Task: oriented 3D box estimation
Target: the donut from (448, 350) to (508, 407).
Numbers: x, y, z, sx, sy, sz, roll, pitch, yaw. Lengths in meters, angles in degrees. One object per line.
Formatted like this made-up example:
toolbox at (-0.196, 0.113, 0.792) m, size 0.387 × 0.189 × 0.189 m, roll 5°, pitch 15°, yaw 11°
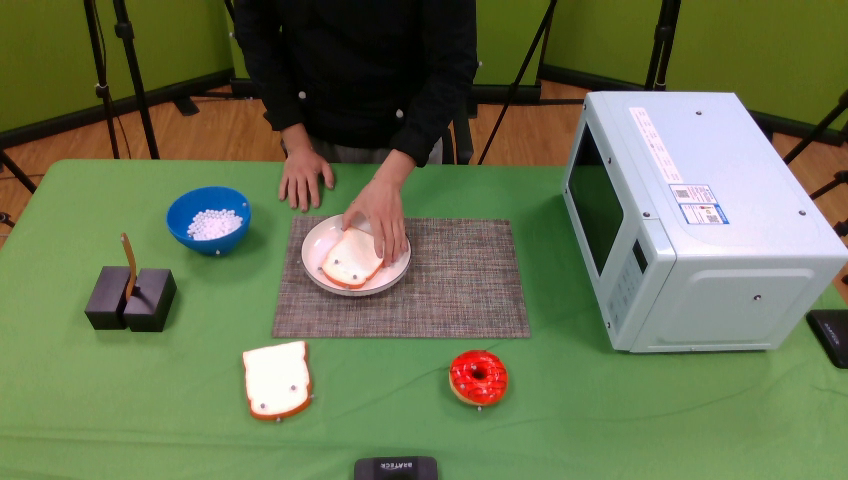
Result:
donut at (0.087, 0.223, 0.977) m, size 0.099 × 0.048 × 0.098 m, roll 4°, pitch 46°, yaw -4°

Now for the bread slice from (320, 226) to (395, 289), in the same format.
bread slice at (-0.129, 0.036, 1.140) m, size 0.107 × 0.018 × 0.134 m, roll 19°, pitch 48°, yaw 14°

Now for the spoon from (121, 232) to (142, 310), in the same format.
spoon at (-0.479, 0.051, 0.994) m, size 0.022 × 0.194 × 0.041 m, roll 13°, pitch 46°, yaw -11°

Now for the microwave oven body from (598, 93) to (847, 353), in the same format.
microwave oven body at (0.475, -0.041, 1.109) m, size 0.326 × 0.261 × 0.438 m, roll -1°, pitch 45°, yaw -4°

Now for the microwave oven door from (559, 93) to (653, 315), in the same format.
microwave oven door at (0.327, -0.074, 1.123) m, size 0.039 × 0.245 × 0.353 m, roll -1°, pitch 46°, yaw -5°

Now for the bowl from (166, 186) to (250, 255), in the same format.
bowl at (-0.403, -0.024, 1.154) m, size 0.151 × 0.077 × 0.150 m, roll 2°, pitch 46°, yaw -2°

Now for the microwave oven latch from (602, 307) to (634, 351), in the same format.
microwave oven latch at (0.332, 0.153, 1.044) m, size 0.030 × 0.029 × 0.078 m, roll -1°, pitch 45°, yaw -4°

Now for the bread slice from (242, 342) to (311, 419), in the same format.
bread slice at (-0.234, 0.223, 0.970) m, size 0.105 × 0.019 × 0.130 m, roll -10°, pitch 46°, yaw -13°

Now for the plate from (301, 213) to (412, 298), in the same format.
plate at (-0.126, 0.032, 1.146) m, size 0.208 × 0.039 × 0.206 m, roll 2°, pitch 45°, yaw -2°
